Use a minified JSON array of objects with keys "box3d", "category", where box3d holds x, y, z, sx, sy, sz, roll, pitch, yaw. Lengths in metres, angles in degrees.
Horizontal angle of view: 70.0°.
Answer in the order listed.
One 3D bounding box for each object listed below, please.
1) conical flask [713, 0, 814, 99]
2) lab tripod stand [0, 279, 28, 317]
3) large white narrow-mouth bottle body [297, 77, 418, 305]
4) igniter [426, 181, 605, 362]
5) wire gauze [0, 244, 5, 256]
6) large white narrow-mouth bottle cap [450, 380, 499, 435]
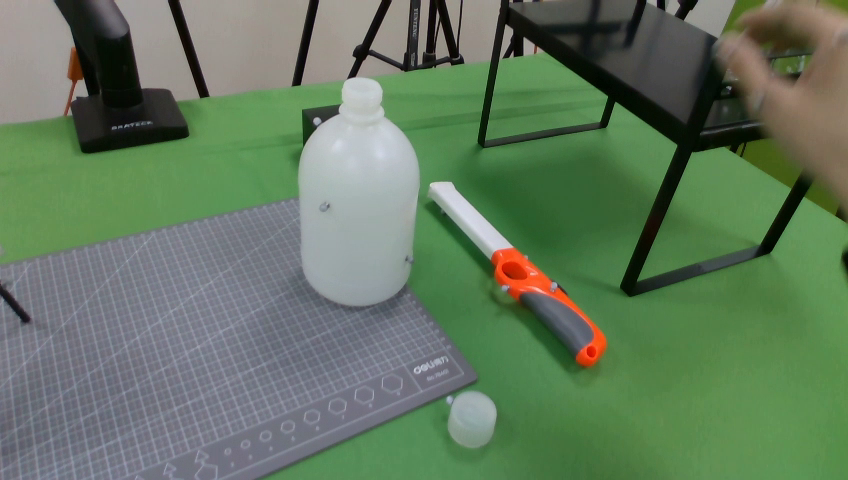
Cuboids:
[{"box3d":[0.316,-0.193,0.538,0.075,0.123,0.074,5,39,-3],"category":"conical flask"},{"box3d":[-0.337,0.054,0.400,0.148,0.132,0.147,6,39,-5],"category":"lab tripod stand"},{"box3d":[-0.056,-0.043,0.516,0.102,0.196,0.101,4,39,-3],"category":"large white narrow-mouth bottle body"},{"box3d":[0.082,0.019,0.600,0.057,0.025,0.273,-7,40,-33],"category":"igniter"},{"box3d":[-0.334,0.003,0.359,0.121,0.011,0.124,-30,56,-35],"category":"wire gauze"},{"box3d":[0.039,0.129,0.464,0.038,0.024,0.037,4,39,-3],"category":"large white narrow-mouth bottle cap"}]
